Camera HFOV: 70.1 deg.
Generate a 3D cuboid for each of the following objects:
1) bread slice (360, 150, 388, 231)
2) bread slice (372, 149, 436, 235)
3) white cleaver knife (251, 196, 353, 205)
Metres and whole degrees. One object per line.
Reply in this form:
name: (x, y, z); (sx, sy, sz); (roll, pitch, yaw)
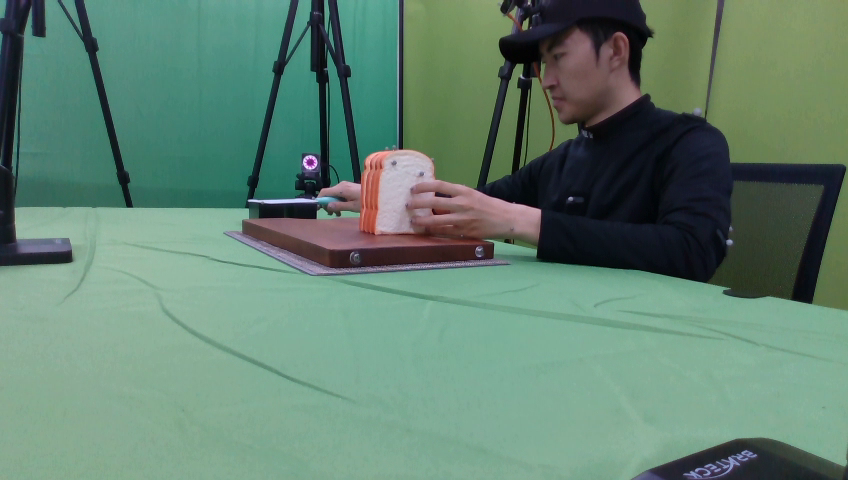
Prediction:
bread slice: (-0.056, -0.080, 0.986); (0.105, 0.131, 0.019); (0, 1, -31)
bread slice: (-0.031, -0.074, 0.940); (0.107, 0.134, 0.018); (-5, 10, -30)
white cleaver knife: (-0.257, -0.088, 1.307); (0.065, 0.021, 0.288); (8, 7, 30)
